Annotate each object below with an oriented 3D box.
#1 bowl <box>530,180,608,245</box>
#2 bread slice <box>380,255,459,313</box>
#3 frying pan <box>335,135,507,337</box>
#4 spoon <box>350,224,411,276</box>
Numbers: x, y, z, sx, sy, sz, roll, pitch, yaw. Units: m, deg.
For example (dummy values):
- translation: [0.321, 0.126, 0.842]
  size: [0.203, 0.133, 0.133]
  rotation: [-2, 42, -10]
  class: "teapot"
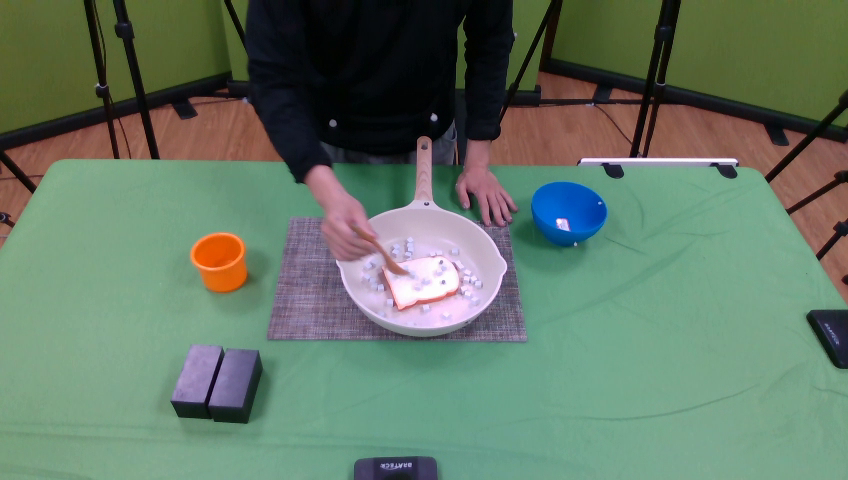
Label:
- translation: [0.284, -0.044, 1.222]
  size: [0.151, 0.077, 0.150]
  rotation: [2, 46, -2]
  class: "bowl"
- translation: [-0.004, 0.075, 1.119]
  size: [0.134, 0.018, 0.106]
  rotation: [-17, 49, -16]
  class: "bread slice"
- translation: [-0.003, -0.026, 1.160]
  size: [0.307, 0.103, 0.485]
  rotation: [4, 55, -2]
  class: "frying pan"
- translation: [-0.072, 0.018, 0.988]
  size: [0.041, 0.195, 0.021]
  rotation: [12, 67, 31]
  class: "spoon"
